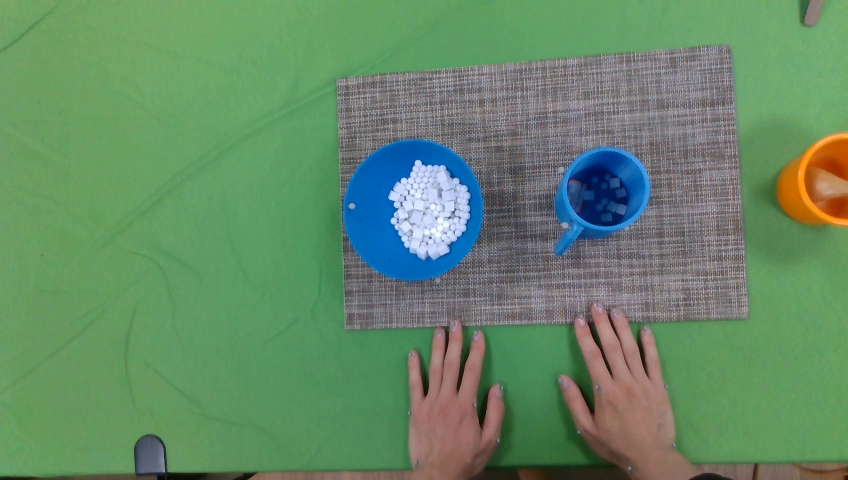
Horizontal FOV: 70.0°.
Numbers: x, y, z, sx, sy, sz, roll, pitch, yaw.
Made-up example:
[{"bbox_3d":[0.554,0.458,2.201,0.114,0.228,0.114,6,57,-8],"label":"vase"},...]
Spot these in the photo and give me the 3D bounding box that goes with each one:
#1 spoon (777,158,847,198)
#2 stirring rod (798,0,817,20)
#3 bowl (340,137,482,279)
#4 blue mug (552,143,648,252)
[{"bbox_3d":[0.436,-0.053,0.575,0.192,0.022,0.041,14,95,48],"label":"spoon"},{"bbox_3d":[0.423,-0.324,0.633,0.014,0.006,0.177,5,110,2],"label":"stirring rod"},{"bbox_3d":[-0.010,-0.031,0.669,0.151,0.077,0.151,0,87,7],"label":"bowl"},{"bbox_3d":[0.170,-0.036,0.632,0.082,0.106,0.116,35,92,8],"label":"blue mug"}]
